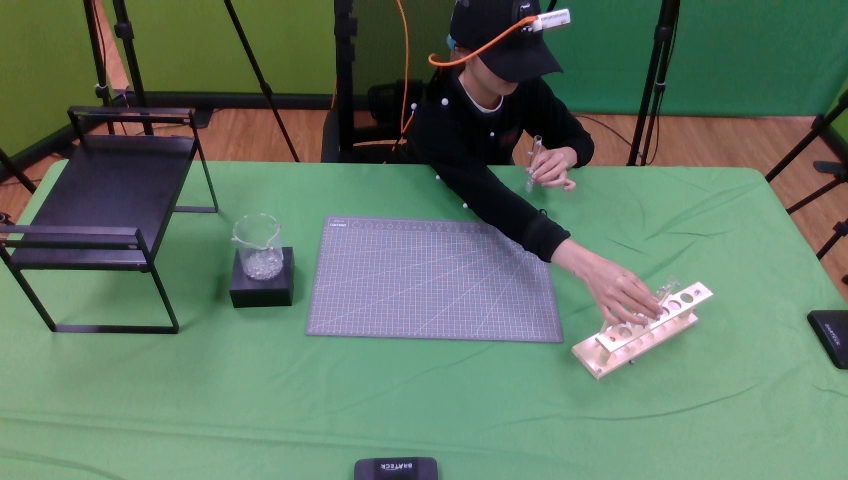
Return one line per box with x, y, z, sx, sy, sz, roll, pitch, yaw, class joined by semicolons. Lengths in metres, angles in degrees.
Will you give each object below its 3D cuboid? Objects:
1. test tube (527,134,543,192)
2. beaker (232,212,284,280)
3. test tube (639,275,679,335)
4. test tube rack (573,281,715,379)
0.222;-0.150;1.213;0.017;0.151;0.017;0;50;1;test tube
-0.280;0.016;1.037;0.074;0.101;0.083;-18;50;-20;beaker
0.375;0.107;0.972;0.017;0.151;0.017;2;48;-2;test tube
0.378;0.140;1.038;0.242;0.085;0.066;-22;51;-23;test tube rack
